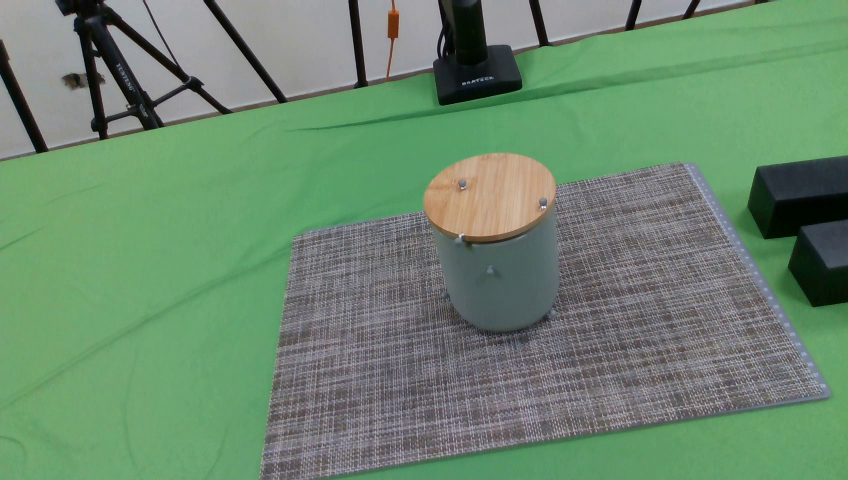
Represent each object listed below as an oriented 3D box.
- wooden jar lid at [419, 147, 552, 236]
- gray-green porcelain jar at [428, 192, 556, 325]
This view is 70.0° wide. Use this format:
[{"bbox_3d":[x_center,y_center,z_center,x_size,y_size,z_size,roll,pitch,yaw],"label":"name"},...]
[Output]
[{"bbox_3d":[0.051,-0.038,0.496,0.108,0.021,0.107,-7,43,7],"label":"wooden jar lid"},{"bbox_3d":[0.064,0.006,0.541,0.106,0.128,0.105,-8,44,8],"label":"gray-green porcelain jar"}]
